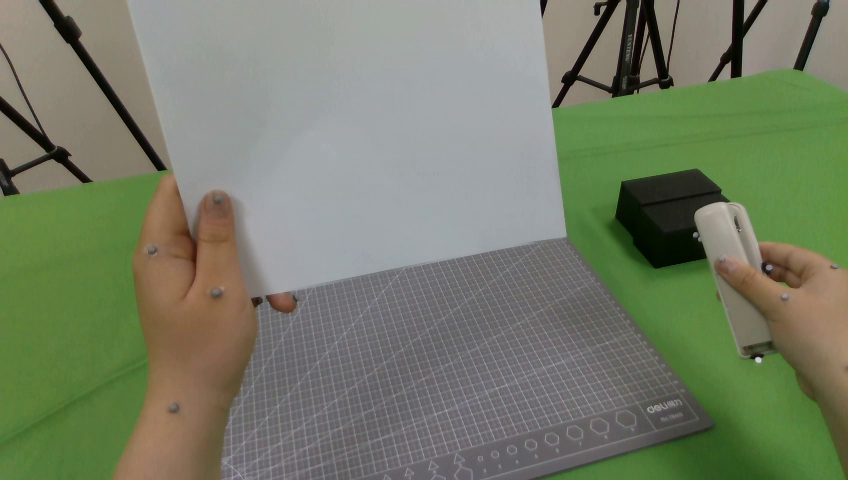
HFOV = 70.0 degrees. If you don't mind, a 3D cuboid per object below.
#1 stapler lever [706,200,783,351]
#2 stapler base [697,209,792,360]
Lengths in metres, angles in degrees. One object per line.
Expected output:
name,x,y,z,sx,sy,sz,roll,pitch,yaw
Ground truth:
stapler lever,0.248,0.025,0.471,0.027,0.040,0.117,-17,70,23
stapler base,0.259,0.030,0.494,0.041,0.024,0.129,-17,69,23
